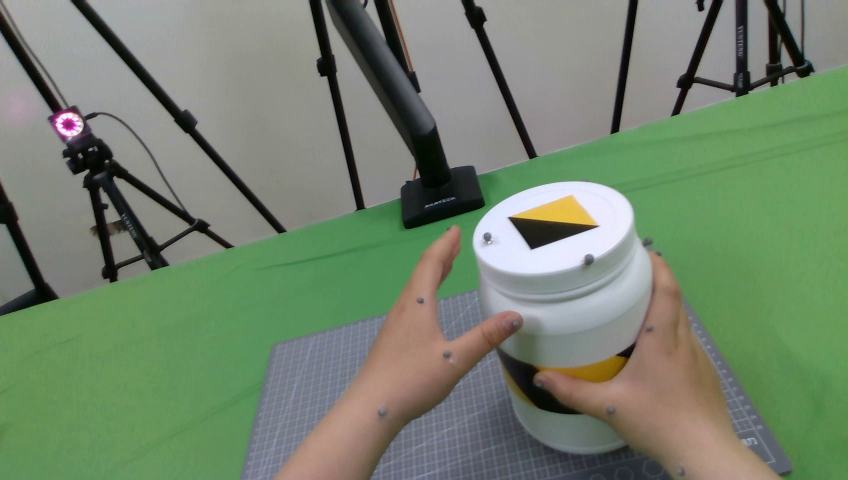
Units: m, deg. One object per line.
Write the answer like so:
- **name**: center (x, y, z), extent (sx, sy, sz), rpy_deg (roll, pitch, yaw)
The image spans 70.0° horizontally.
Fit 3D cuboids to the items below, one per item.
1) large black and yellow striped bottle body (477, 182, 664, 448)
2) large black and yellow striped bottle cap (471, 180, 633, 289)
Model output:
- **large black and yellow striped bottle body**: center (0.117, 0.059, 0.482), extent (0.130, 0.186, 0.129), rpy_deg (-14, 33, 10)
- **large black and yellow striped bottle cap**: center (0.091, -0.007, 0.437), extent (0.115, 0.019, 0.114), rpy_deg (-13, 32, 9)
